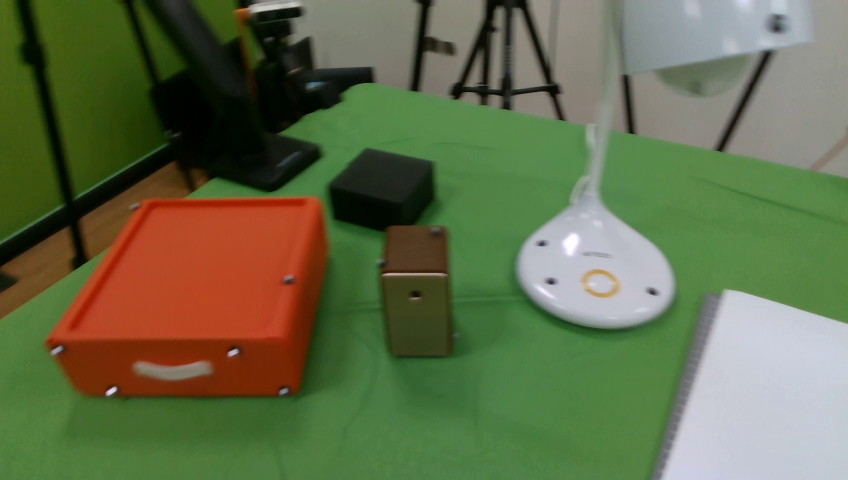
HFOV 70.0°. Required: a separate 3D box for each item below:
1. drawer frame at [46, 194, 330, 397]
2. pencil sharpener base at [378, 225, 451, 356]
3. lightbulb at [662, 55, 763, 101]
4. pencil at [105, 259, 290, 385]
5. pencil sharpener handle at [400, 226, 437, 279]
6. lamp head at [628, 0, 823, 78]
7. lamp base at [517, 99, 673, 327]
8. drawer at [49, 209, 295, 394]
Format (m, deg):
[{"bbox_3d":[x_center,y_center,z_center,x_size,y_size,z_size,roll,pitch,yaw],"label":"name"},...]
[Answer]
[{"bbox_3d":[-0.210,0.047,0.594,0.202,0.083,0.211,-2,37,2],"label":"drawer frame"},{"bbox_3d":[-0.005,0.046,0.565,0.061,0.108,0.076,-1,37,3],"label":"pencil sharpener base"},{"bbox_3d":[0.182,-0.142,0.378,0.059,0.108,0.059,0,13,0],"label":"lightbulb"},{"bbox_3d":[-0.208,0.072,0.570,0.194,0.012,0.012,-36,48,-20],"label":"pencil"},{"bbox_3d":[-0.006,0.006,0.598,0.036,0.068,0.030,4,37,-1],"label":"pencil sharpener handle"},{"bbox_3d":[0.179,-0.168,0.379,0.112,0.123,0.112,-10,7,2],"label":"lamp head"},{"bbox_3d":[0.176,-0.035,0.604,0.161,0.182,0.177,-2,35,-1],"label":"lamp base"},{"bbox_3d":[-0.208,0.050,0.593,0.194,0.074,0.210,-1,36,2],"label":"drawer"}]
